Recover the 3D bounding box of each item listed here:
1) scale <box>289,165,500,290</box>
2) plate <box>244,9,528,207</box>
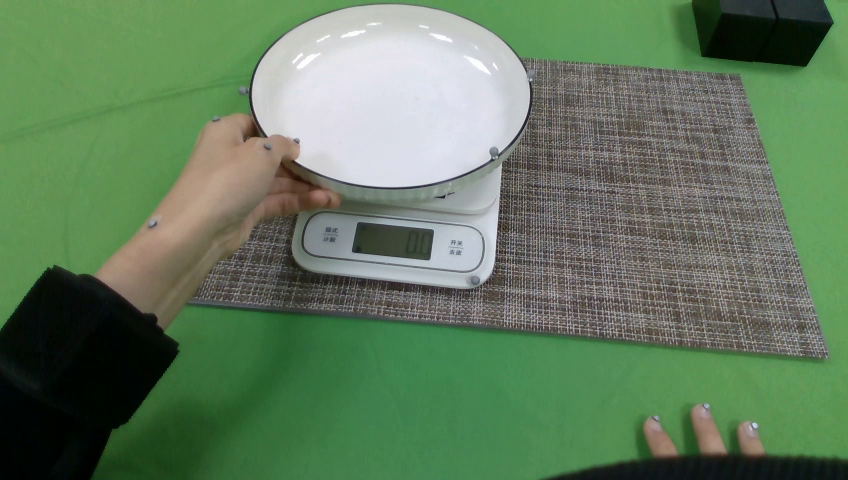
[{"bbox_3d":[-0.015,-0.056,0.479,0.148,0.032,0.199,6,54,3],"label":"scale"},{"bbox_3d":[-0.027,-0.101,0.460,0.208,0.039,0.205,2,53,-2],"label":"plate"}]
